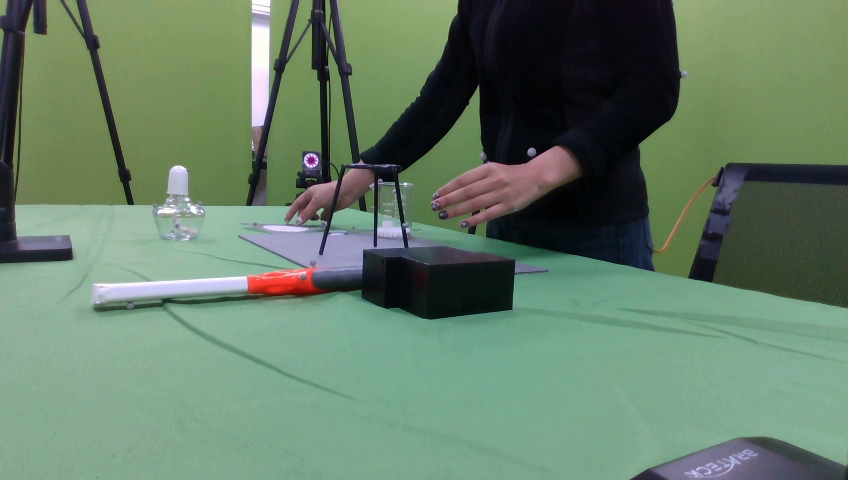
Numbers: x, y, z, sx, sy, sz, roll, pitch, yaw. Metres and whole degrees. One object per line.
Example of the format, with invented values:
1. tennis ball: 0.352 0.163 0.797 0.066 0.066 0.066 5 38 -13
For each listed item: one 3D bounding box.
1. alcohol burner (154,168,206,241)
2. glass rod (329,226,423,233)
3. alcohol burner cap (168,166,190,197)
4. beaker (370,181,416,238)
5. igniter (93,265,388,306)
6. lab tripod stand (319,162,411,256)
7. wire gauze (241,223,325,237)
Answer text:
1. alcohol burner: -0.393 -0.059 0.974 0.078 0.119 0.078 1 8 0
2. glass rod: -0.087 -0.020 1.148 0.201 0.008 0.008 -3 9 -32
3. alcohol burner cap: -0.392 -0.095 0.970 0.034 0.048 0.034 7 8 -1
4. beaker: -0.057 -0.056 1.090 0.084 0.100 0.074 2 7 0
5. igniter: -0.164 0.042 0.589 0.278 0.025 0.057 -2 -6 -31
6. lab tripod stand: -0.081 -0.047 0.879 0.148 0.131 0.148 2 9 0
7. wire gauze: -0.266 -0.024 1.156 0.124 0.011 0.122 12 12 40
